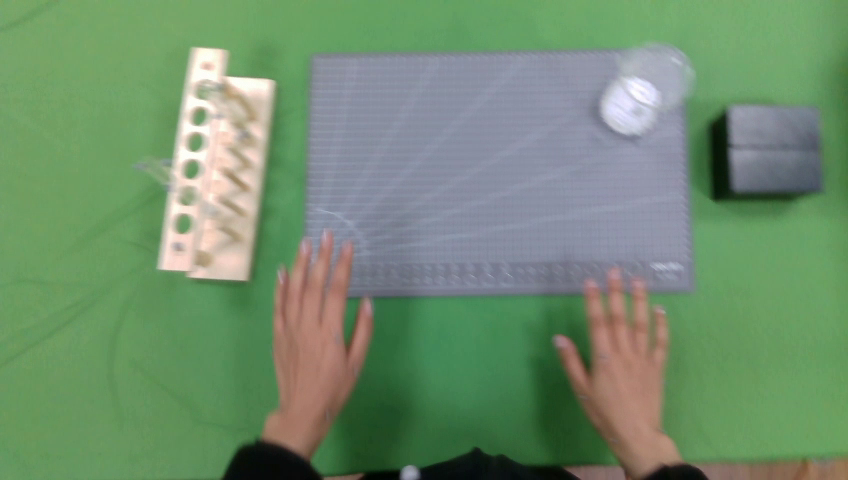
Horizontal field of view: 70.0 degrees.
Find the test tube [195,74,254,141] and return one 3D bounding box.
[{"bbox_3d":[-0.208,-0.136,0.639,0.017,0.151,0.017,0,79,1],"label":"test tube"}]

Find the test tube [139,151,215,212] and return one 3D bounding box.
[{"bbox_3d":[-0.249,-0.056,0.624,0.017,0.151,0.017,-1,76,3],"label":"test tube"}]

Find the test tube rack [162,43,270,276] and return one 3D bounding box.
[{"bbox_3d":[-0.228,-0.085,0.677,0.067,0.085,0.241,4,82,1],"label":"test tube rack"}]

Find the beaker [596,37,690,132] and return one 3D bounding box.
[{"bbox_3d":[0.235,-0.170,0.675,0.084,0.100,0.074,31,83,6],"label":"beaker"}]
